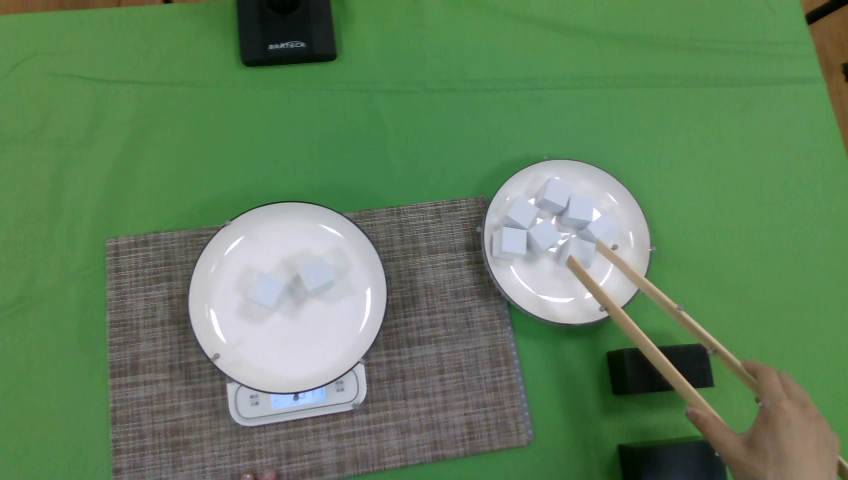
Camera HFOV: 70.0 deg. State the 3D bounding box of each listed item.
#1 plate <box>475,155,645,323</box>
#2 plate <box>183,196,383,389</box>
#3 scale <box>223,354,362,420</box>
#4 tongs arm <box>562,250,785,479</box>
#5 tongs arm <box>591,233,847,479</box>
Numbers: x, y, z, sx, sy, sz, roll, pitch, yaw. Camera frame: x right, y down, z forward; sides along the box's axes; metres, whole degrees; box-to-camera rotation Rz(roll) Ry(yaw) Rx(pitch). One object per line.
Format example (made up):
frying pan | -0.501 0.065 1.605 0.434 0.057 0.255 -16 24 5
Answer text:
plate | 0.162 0.000 0.740 0.208 0.039 0.206 2 76 -6
plate | -0.149 0.055 0.657 0.209 0.038 0.208 2 76 -6
scale | -0.153 0.092 0.681 0.149 0.031 0.200 -7 77 -8
tongs arm | 0.267 0.145 0.592 0.028 0.028 0.383 -29 60 -19
tongs arm | 0.290 0.132 0.598 0.051 0.027 0.381 -34 61 -18
